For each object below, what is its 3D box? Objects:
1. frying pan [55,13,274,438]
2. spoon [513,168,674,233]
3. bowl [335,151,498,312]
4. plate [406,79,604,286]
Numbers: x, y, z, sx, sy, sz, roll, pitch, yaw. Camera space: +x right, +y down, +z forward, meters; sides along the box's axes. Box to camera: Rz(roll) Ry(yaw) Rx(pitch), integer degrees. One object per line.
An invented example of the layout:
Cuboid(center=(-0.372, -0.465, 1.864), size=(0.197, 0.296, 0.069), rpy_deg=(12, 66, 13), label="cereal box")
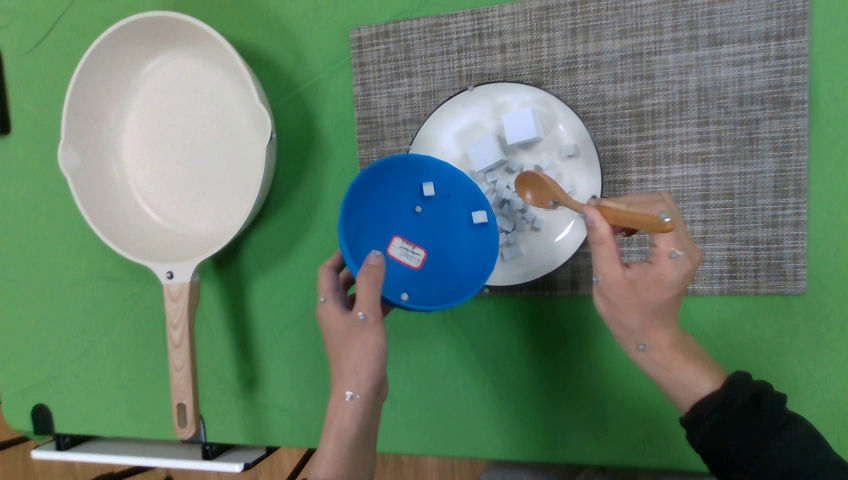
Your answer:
Cuboid(center=(-0.298, -0.011, 0.724), size=(0.306, 0.103, 0.487), rpy_deg=(-4, 87, 19), label="frying pan")
Cuboid(center=(0.125, -0.028, 0.483), size=(0.021, 0.192, 0.042), rpy_deg=(-29, 113, -11), label="spoon")
Cuboid(center=(-0.015, 0.002, 0.565), size=(0.151, 0.151, 0.077), rpy_deg=(55, 152, 6), label="bowl")
Cuboid(center=(0.079, -0.057, 0.626), size=(0.207, 0.039, 0.208), rpy_deg=(2, 97, 18), label="plate")
